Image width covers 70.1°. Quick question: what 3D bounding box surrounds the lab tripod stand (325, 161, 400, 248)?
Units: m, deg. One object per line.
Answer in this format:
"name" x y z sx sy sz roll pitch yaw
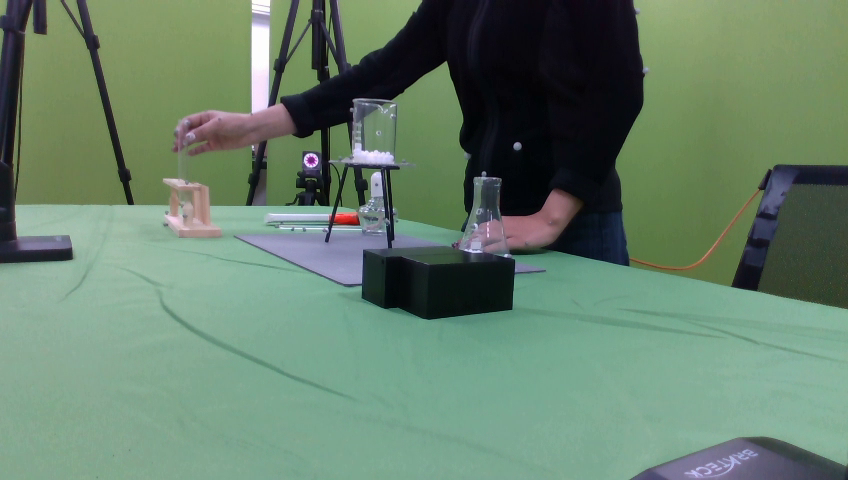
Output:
"lab tripod stand" -0.083 -0.059 0.977 0.148 0.131 0.148 4 8 0

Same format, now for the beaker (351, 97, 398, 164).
"beaker" -0.078 -0.172 0.962 0.074 0.100 0.084 6 8 19

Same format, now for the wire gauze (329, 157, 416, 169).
"wire gauze" -0.079 -0.125 0.972 0.121 0.011 0.125 6 6 5

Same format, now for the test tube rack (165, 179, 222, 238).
"test tube rack" -0.423 -0.062 1.098 0.067 0.085 0.241 -2 9 -28

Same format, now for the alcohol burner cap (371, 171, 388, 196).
"alcohol burner cap" -0.085 -0.104 1.120 0.034 0.048 0.034 -5 7 1

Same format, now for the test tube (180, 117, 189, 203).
"test tube" -0.423 -0.140 1.069 0.017 0.150 0.017 4 9 0

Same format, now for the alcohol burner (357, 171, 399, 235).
"alcohol burner" -0.085 -0.069 1.125 0.078 0.119 0.078 3 10 0

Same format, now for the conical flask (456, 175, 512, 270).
"conical flask" 0.082 -0.025 0.801 0.075 0.122 0.075 2 7 0

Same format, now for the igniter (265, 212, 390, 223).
"igniter" -0.196 -0.048 1.285 0.278 0.025 0.057 -2 -2 -30

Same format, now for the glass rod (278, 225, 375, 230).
"glass rod" -0.186 -0.024 1.178 0.201 0.008 0.008 1 7 -31
